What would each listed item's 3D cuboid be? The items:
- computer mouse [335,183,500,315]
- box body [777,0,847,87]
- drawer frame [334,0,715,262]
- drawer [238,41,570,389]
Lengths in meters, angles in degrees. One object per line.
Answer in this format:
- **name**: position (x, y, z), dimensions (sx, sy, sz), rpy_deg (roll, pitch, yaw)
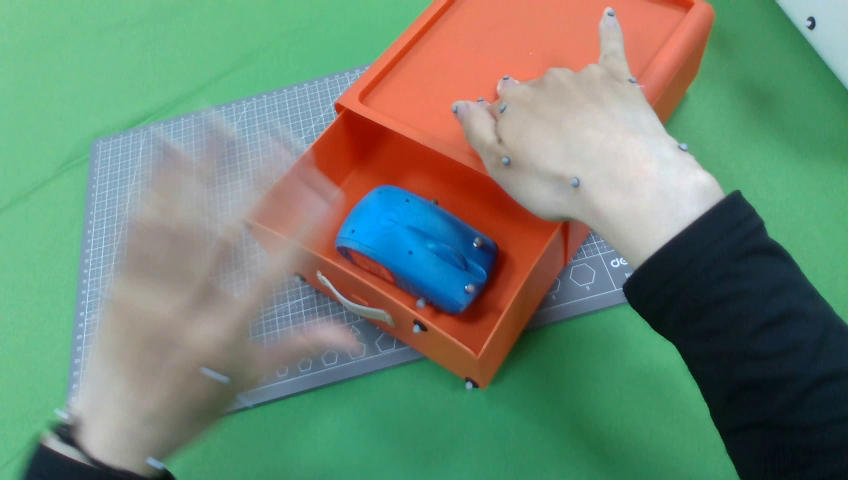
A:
- **computer mouse**: position (-0.006, 0.002, 0.432), dimensions (0.116, 0.041, 0.062), rpy_deg (29, 66, 19)
- **box body**: position (0.416, -0.239, 0.439), dimensions (0.254, 0.162, 0.360), rpy_deg (-14, 58, 1)
- **drawer frame**: position (0.076, -0.115, 0.470), dimensions (0.200, 0.083, 0.213), rpy_deg (29, 67, 25)
- **drawer**: position (0.014, -0.034, 0.434), dimensions (0.193, 0.074, 0.211), rpy_deg (28, 67, 24)
